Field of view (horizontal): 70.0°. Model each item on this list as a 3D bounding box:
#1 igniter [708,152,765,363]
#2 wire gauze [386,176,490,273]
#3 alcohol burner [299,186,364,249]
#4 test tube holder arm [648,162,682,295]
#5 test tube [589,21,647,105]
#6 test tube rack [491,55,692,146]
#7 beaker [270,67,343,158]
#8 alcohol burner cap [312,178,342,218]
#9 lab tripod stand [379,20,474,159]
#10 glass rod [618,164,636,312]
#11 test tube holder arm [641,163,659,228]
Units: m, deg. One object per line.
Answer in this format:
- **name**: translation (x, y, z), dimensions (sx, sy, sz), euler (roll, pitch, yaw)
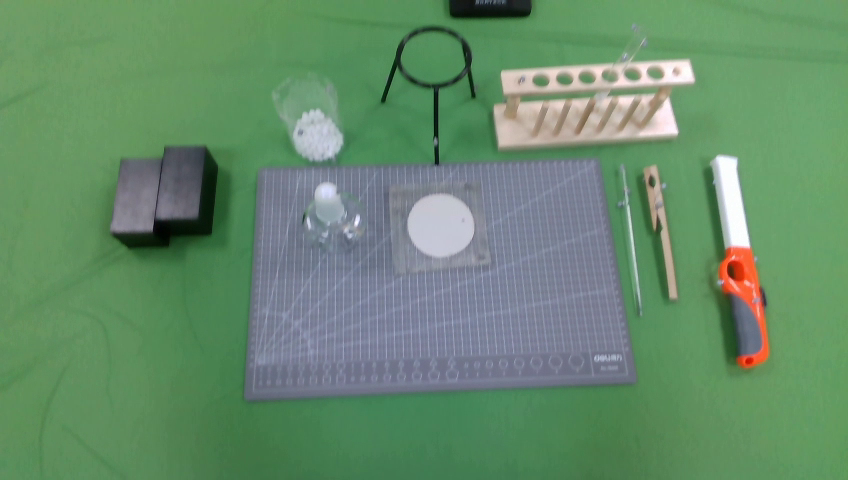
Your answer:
- **igniter**: translation (0.387, 0.016, 0.753), dimensions (0.057, 0.025, 0.274), euler (7, 69, -10)
- **wire gauze**: translation (0.016, -0.023, 0.764), dimensions (0.121, 0.011, 0.124), euler (-4, 73, -4)
- **alcohol burner**: translation (-0.110, -0.035, 0.708), dimensions (0.078, 0.120, 0.077), euler (0, 67, 0)
- **test tube holder arm**: translation (0.302, -0.017, 0.765), dimensions (0.013, 0.015, 0.177), euler (-19, 64, 31)
- **test tube**: translation (0.235, -0.215, 0.751), dimensions (0.017, 0.151, 0.017), euler (3, 68, -7)
- **test tube rack**: translation (0.216, -0.181, 0.791), dimensions (0.242, 0.086, 0.066), euler (-4, 69, -3)
- **beaker**: translation (-0.144, -0.156, 0.763), dimensions (0.084, 0.101, 0.073), euler (15, 69, 5)
- **alcohol burner cap**: translation (-0.110, -0.050, 0.675), dimensions (0.034, 0.048, 0.033), euler (2, 60, -3)
- **lab tripod stand**: translation (0.006, -0.197, 0.764), dimensions (0.148, 0.132, 0.147), euler (0, 68, 1)
- **glass rod**: translation (0.257, -0.006, 0.768), dimensions (0.008, 0.008, 0.198), euler (1, 72, -1)
- **test tube holder arm**: translation (0.294, -0.057, 0.784), dimensions (0.010, 0.015, 0.087), euler (-17, 65, 32)
